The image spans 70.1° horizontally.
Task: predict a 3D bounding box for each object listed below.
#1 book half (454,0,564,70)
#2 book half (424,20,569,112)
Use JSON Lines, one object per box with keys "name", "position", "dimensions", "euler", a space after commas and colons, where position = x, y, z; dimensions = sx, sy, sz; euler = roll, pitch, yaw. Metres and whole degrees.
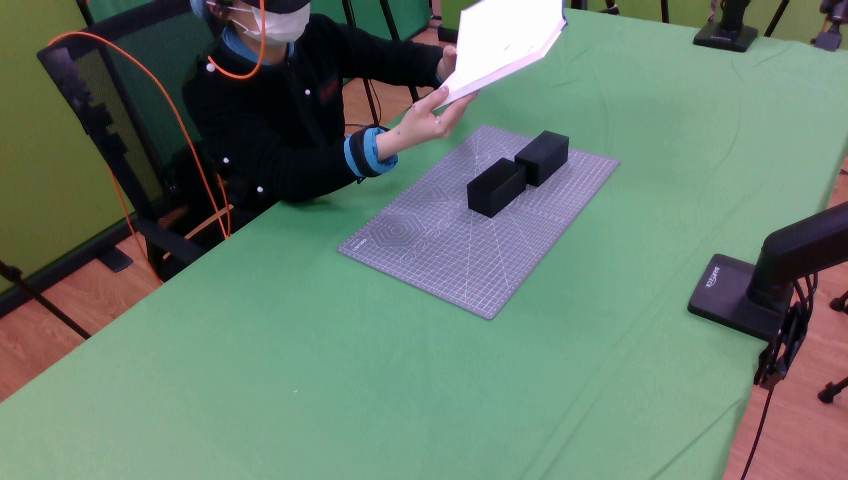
{"name": "book half", "position": [0.139, -0.374, 1.006], "dimensions": [0.209, 0.007, 0.142], "euler": [-17, 51, 38]}
{"name": "book half", "position": [0.107, -0.264, 0.923], "dimensions": [0.209, 0.016, 0.149], "euler": [-15, 25, 36]}
